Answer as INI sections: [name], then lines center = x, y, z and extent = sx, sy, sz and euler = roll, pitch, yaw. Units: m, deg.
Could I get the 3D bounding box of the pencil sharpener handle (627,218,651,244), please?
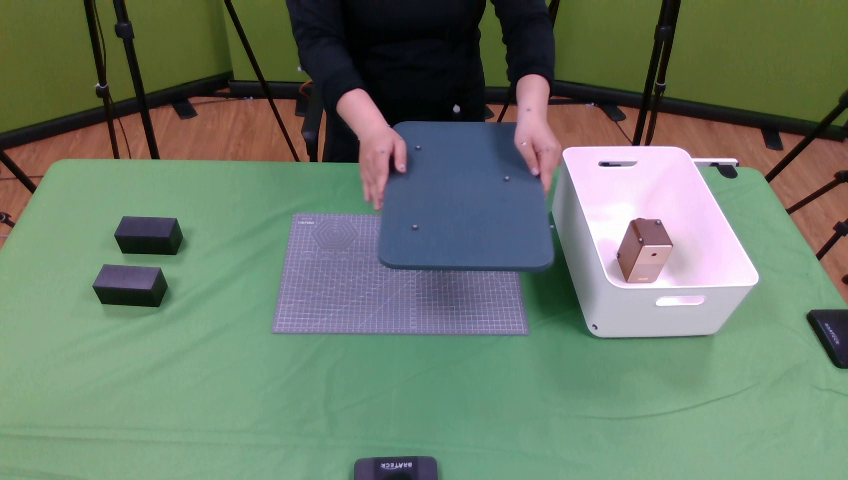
[pencil sharpener handle]
center = 0.408, -0.025, 1.167
extent = 0.036, 0.068, 0.030
euler = 2, 45, -7

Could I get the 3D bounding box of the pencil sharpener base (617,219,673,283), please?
[pencil sharpener base]
center = 0.412, 0.020, 1.140
extent = 0.061, 0.107, 0.076
euler = -1, 45, -4

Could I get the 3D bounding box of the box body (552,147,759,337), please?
[box body]
center = 0.401, -0.001, 1.131
extent = 0.254, 0.161, 0.361
euler = -1, 46, -5

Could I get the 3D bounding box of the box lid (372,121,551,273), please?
[box lid]
center = 0.059, -0.086, 0.992
extent = 0.263, 0.015, 0.369
euler = 1, 44, 1
